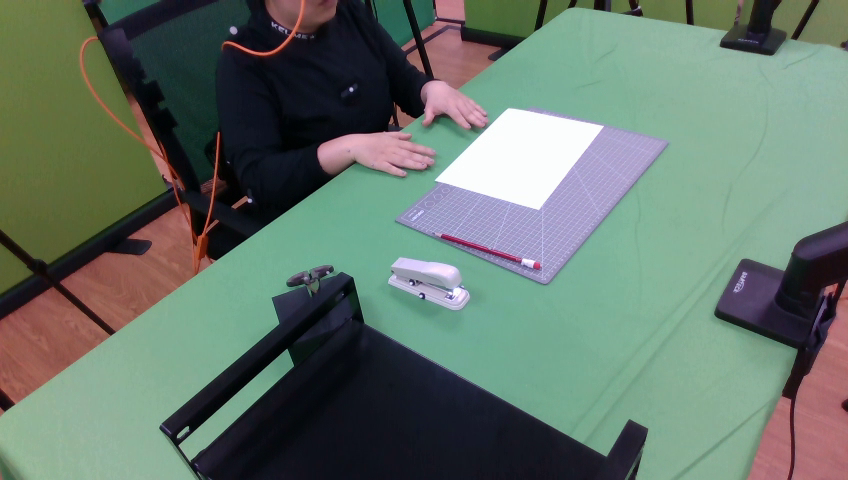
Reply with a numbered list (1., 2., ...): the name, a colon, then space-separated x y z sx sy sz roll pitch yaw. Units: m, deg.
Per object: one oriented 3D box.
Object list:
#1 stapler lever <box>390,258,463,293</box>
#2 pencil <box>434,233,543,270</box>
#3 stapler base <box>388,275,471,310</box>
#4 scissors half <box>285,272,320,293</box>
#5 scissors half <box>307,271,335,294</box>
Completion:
1. stapler lever: 0.002 0.046 0.881 0.117 0.040 0.027 17 44 29
2. pencil: 0.096 0.015 0.949 0.192 0.012 0.012 18 46 29
3. stapler base: 0.007 0.066 0.897 0.129 0.024 0.041 17 44 29
4. scissors half: -0.171 0.063 0.868 0.040 0.013 0.174 -10 7 -21
5. scissors half: -0.152 0.061 0.872 0.040 0.013 0.175 -3 6 -4
